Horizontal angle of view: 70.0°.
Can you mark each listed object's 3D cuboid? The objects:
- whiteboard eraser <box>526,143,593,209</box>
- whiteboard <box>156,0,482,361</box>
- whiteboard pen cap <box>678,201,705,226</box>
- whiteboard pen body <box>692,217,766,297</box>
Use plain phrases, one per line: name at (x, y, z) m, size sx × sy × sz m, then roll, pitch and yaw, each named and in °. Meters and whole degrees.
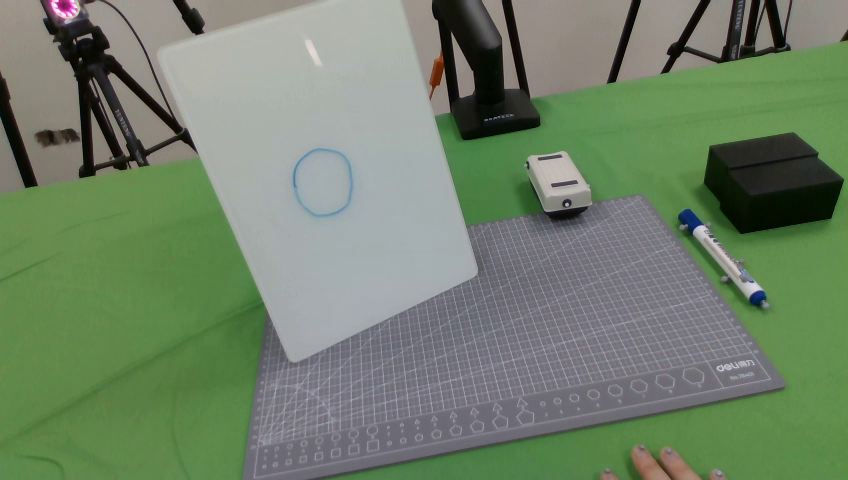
whiteboard eraser at (0.162, -0.077, 0.733) m, size 0.055 × 0.042 × 0.111 m, roll -11°, pitch 34°, yaw 2°
whiteboard at (-0.101, -0.076, 0.621) m, size 0.217 × 0.307 × 0.142 m, roll -24°, pitch 21°, yaw -17°
whiteboard pen cap at (0.293, -0.028, 0.662) m, size 0.018 × 0.018 × 0.033 m, roll -12°, pitch 37°, yaw -3°
whiteboard pen body at (0.302, 0.008, 0.617) m, size 0.017 × 0.017 × 0.139 m, roll -12°, pitch 38°, yaw -2°
